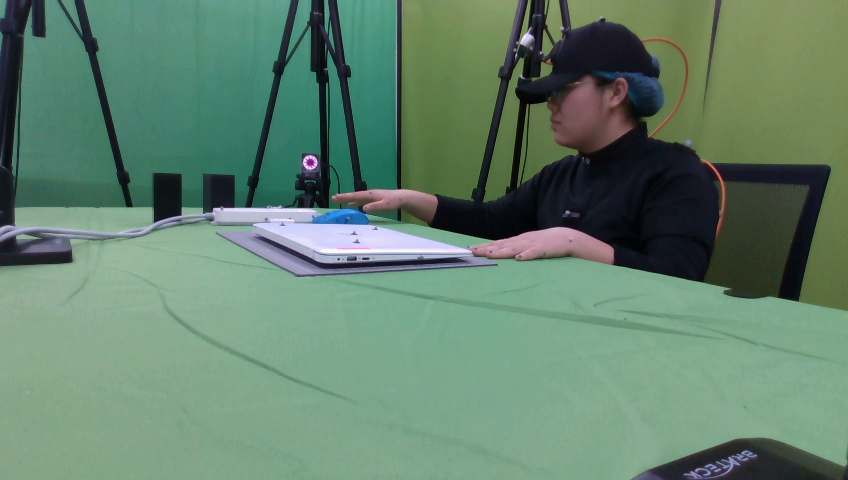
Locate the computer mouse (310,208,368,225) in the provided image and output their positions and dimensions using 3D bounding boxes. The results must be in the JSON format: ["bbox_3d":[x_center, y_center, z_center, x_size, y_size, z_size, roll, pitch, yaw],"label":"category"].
[{"bbox_3d":[-0.179,-0.045,1.275,0.118,0.041,0.062,-6,13,-29],"label":"computer mouse"}]

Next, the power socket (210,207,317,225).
[{"bbox_3d":[-0.335,-0.051,1.282,0.228,0.032,0.072,-1,9,-28],"label":"power socket"}]

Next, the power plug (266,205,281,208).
[{"bbox_3d":[-0.343,-0.055,1.364,0.053,0.035,0.072,-22,-10,-15],"label":"power plug"}]

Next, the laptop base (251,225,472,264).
[{"bbox_3d":[-0.116,0.007,0.955,0.237,0.023,0.352,2,6,-31],"label":"laptop base"}]

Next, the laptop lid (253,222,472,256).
[{"bbox_3d":[-0.113,-0.005,0.955,0.243,0.013,0.355,1,7,-29],"label":"laptop lid"}]

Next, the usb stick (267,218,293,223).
[{"bbox_3d":[-0.272,-0.026,1.107,0.059,0.027,0.021,-3,12,-27],"label":"usb stick"}]
